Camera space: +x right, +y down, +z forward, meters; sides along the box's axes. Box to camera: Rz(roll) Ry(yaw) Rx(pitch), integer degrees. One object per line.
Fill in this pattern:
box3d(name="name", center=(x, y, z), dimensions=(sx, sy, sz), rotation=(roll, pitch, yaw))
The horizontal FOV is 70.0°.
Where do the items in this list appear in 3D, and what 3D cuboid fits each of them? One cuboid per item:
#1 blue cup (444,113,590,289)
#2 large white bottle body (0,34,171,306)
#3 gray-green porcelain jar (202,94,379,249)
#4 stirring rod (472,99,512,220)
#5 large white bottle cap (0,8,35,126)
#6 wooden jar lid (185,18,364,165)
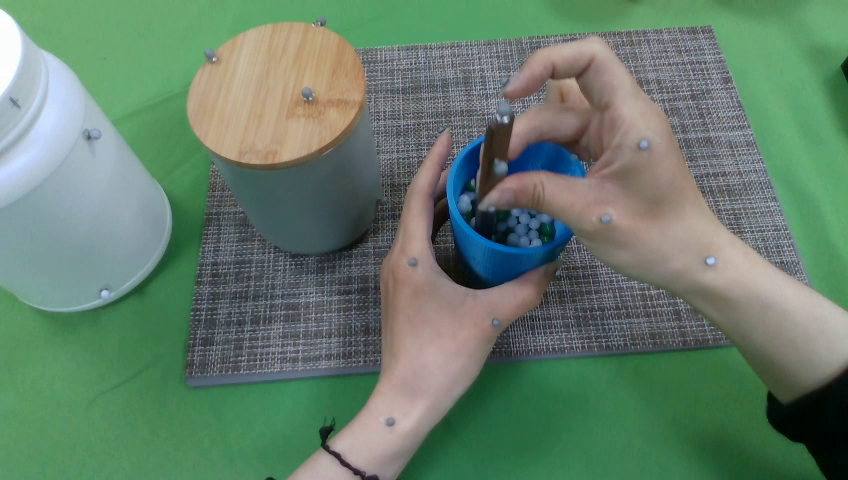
box3d(name="blue cup", center=(0.055, -0.013, 0.397), dimensions=(0.092, 0.101, 0.092), rotation=(0, 65, 0))
box3d(name="large white bottle body", center=(-0.266, -0.047, 0.397), dimensions=(0.130, 0.186, 0.129), rotation=(-1, 63, 2))
box3d(name="gray-green porcelain jar", center=(-0.088, -0.060, 0.427), dimensions=(0.106, 0.127, 0.105), rotation=(-1, 63, 2))
box3d(name="stirring rod", center=(0.033, -0.022, 0.328), dimensions=(0.014, 0.177, 0.006), rotation=(-42, 73, -13))
box3d(name="large white bottle cap", center=(-0.269, -0.086, 0.321), dimensions=(0.115, 0.018, 0.114), rotation=(-1, 63, 2))
box3d(name="wooden jar lid", center=(-0.090, -0.089, 0.371), dimensions=(0.108, 0.021, 0.107), rotation=(-2, 64, 4))
